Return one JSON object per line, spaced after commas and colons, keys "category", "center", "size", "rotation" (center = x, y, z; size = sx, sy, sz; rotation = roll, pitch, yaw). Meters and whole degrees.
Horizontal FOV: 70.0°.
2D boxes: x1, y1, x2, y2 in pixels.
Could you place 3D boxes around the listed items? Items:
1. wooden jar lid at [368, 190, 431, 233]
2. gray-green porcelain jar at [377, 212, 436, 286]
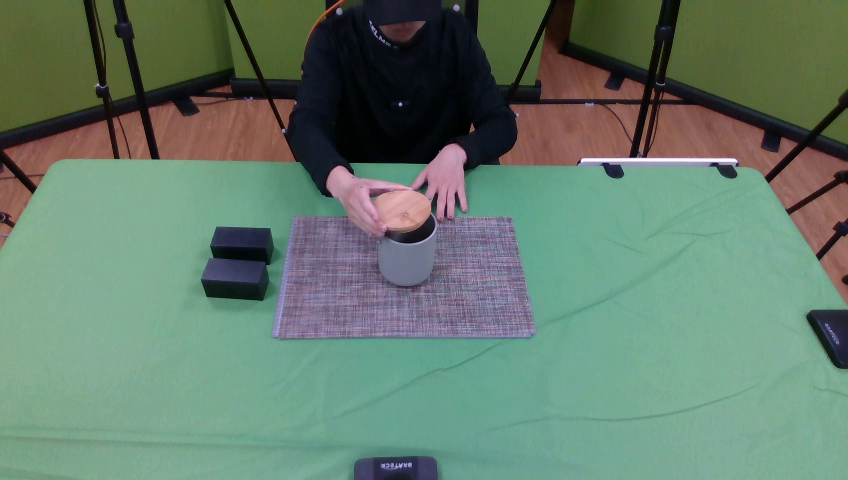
{"category": "wooden jar lid", "center": [-0.042, -0.049, 1.046], "size": [0.108, 0.021, 0.107], "rotation": [-2, 39, 2]}
{"category": "gray-green porcelain jar", "center": [-0.033, 0.014, 1.106], "size": [0.106, 0.127, 0.105], "rotation": [2, 46, -2]}
